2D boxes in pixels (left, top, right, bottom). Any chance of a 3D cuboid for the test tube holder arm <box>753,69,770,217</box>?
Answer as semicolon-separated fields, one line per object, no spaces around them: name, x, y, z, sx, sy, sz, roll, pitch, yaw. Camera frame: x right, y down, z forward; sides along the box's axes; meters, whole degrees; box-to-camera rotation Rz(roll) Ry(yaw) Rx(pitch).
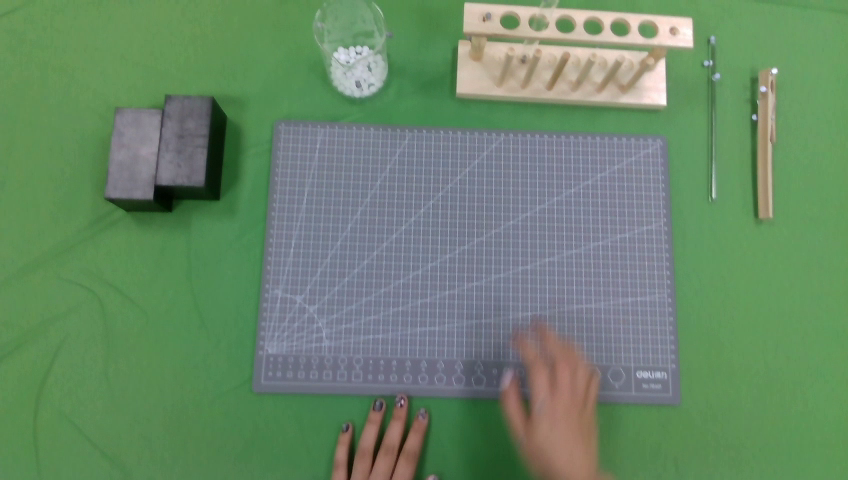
test tube holder arm;0.388;-0.113;0.697;0.013;0.015;0.177;15;77;-29

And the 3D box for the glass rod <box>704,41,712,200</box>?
glass rod;0.332;-0.142;0.709;0.008;0.008;0.199;6;78;-1

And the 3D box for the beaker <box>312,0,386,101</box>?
beaker;-0.078;-0.200;0.659;0.074;0.100;0.083;5;79;-1

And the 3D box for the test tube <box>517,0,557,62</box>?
test tube;0.121;-0.230;0.629;0.017;0.151;0.017;2;73;-6

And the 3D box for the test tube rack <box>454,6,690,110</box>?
test tube rack;0.158;-0.200;0.675;0.242;0.085;0.066;3;78;-1

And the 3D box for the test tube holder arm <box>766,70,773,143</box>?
test tube holder arm;0.399;-0.155;0.709;0.010;0.015;0.087;15;77;-28
